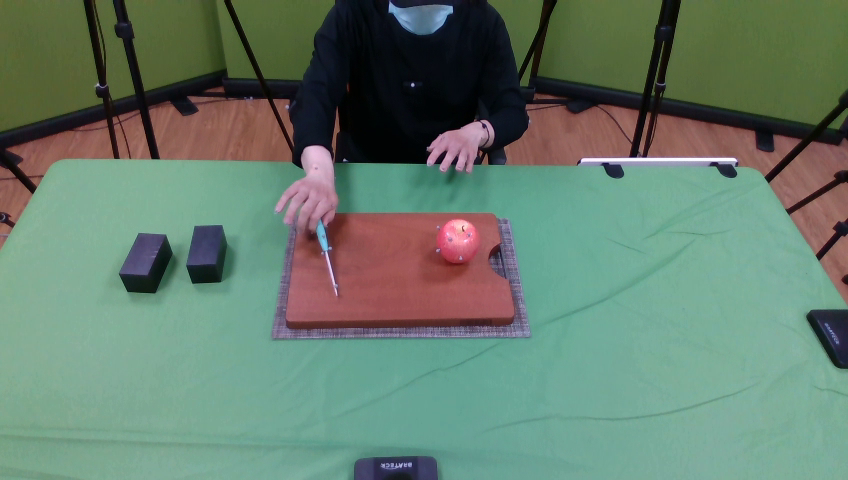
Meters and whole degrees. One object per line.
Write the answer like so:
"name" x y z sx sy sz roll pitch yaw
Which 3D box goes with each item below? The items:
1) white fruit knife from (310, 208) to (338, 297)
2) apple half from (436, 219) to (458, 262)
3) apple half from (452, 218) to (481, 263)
"white fruit knife" -0.181 0.018 1.111 0.016 0.027 0.206 -11 57 -15
"apple half" 0.039 0.005 1.115 0.033 0.081 0.080 -2 46 -11
"apple half" 0.077 0.003 1.122 0.053 0.075 0.080 -1 42 -11
